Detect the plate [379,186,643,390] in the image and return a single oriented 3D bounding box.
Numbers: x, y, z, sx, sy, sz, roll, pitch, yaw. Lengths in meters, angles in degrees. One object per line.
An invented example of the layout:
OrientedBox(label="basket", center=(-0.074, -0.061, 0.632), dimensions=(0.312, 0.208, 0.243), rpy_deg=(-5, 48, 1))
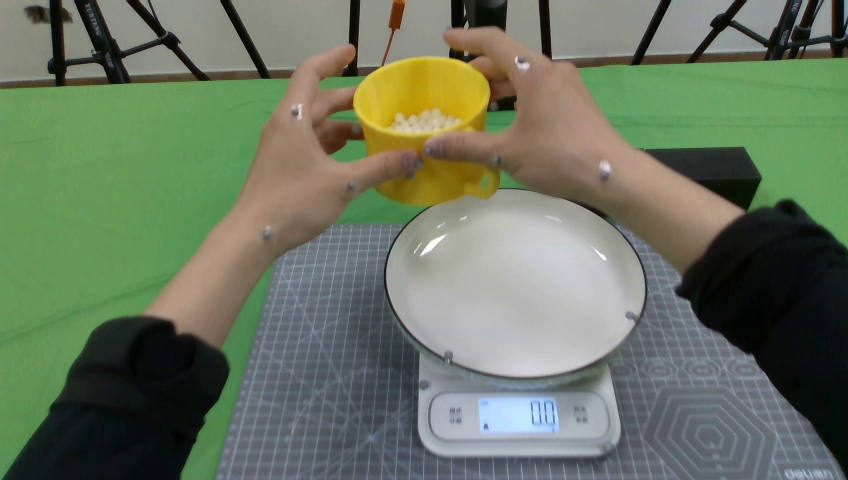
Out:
OrientedBox(label="plate", center=(0.068, 0.035, 0.494), dimensions=(0.209, 0.038, 0.207), rpy_deg=(0, 45, 1))

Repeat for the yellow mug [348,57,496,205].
OrientedBox(label="yellow mug", center=(0.007, -0.076, 0.450), dimensions=(0.100, 0.064, 0.129), rpy_deg=(-34, 53, -22))

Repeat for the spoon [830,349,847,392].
OrientedBox(label="spoon", center=(0.388, 0.062, 0.421), dimensions=(0.022, 0.194, 0.041), rpy_deg=(30, 39, -32))

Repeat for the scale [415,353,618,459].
OrientedBox(label="scale", center=(0.068, 0.079, 0.496), dimensions=(0.148, 0.032, 0.199), rpy_deg=(-1, 45, 2))
